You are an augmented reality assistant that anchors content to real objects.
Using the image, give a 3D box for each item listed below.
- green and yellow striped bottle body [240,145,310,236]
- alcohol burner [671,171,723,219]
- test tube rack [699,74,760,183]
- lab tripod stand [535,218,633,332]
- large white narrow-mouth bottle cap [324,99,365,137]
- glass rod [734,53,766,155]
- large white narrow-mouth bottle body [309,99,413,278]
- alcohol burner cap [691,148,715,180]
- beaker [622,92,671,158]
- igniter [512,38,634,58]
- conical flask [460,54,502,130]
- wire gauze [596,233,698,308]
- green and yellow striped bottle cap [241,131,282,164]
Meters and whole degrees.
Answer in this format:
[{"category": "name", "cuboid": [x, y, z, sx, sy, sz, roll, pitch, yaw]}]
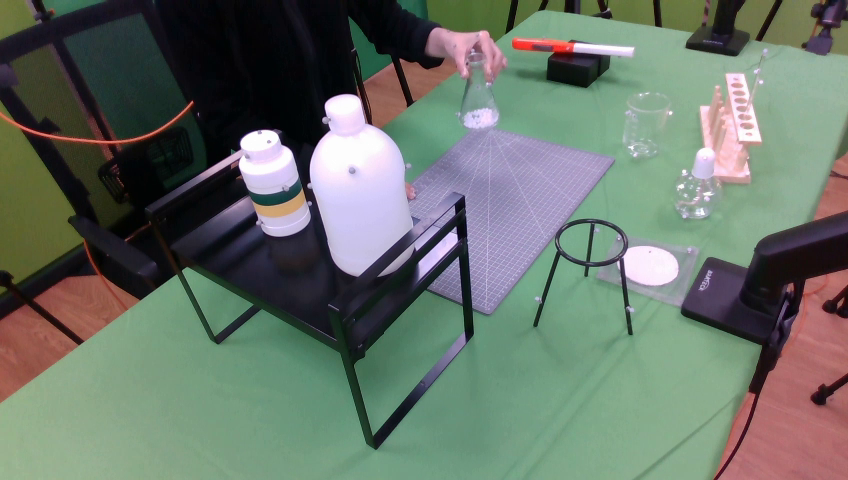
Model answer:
[{"category": "green and yellow striped bottle body", "cuboid": [-0.181, -0.068, 0.729, 0.063, 0.120, 0.063, -4, 40, 4]}, {"category": "alcohol burner", "cuboid": [0.434, -0.093, 0.955, 0.078, 0.119, 0.077, -3, 43, 4]}, {"category": "test tube rack", "cuboid": [0.547, -0.208, 1.095, 0.066, 0.085, 0.242, 6, 42, 16]}, {"category": "lab tripod stand", "cuboid": [0.215, 0.050, 0.803, 0.148, 0.132, 0.147, -4, 43, 4]}, {"category": "large white narrow-mouth bottle cap", "cuboid": [-0.076, -0.119, 0.586, 0.038, 0.024, 0.037, -3, 42, 3]}, {"category": "glass rod", "cuboid": [0.540, -0.220, 1.007, 0.008, 0.201, 0.008, -5, 45, 6]}, {"category": "large white narrow-mouth bottle body", "cuboid": [-0.069, -0.057, 0.645, 0.102, 0.195, 0.101, -3, 42, 4]}, {"category": "alcohol burner cap", "cuboid": [0.432, -0.120, 0.930, 0.034, 0.048, 0.033, -7, 48, 8]}, {"category": "beaker", "cuboid": [0.402, -0.210, 1.106, 0.074, 0.101, 0.083, -9, 40, -2]}, {"category": "igniter", "cuboid": [0.328, -0.433, 1.360, 0.275, 0.025, 0.057, 12, 33, 20]}, {"category": "conical flask", "cuboid": [0.095, -0.257, 1.045, 0.075, 0.122, 0.075, -4, 43, 5]}, {"category": "wire gauze", "cuboid": [0.331, 0.038, 0.897, 0.124, 0.011, 0.121, 18, 47, 26]}, {"category": "green and yellow striped bottle cap", "cuboid": [-0.187, -0.107, 0.695, 0.045, 0.020, 0.045, -3, 39, 3]}]
